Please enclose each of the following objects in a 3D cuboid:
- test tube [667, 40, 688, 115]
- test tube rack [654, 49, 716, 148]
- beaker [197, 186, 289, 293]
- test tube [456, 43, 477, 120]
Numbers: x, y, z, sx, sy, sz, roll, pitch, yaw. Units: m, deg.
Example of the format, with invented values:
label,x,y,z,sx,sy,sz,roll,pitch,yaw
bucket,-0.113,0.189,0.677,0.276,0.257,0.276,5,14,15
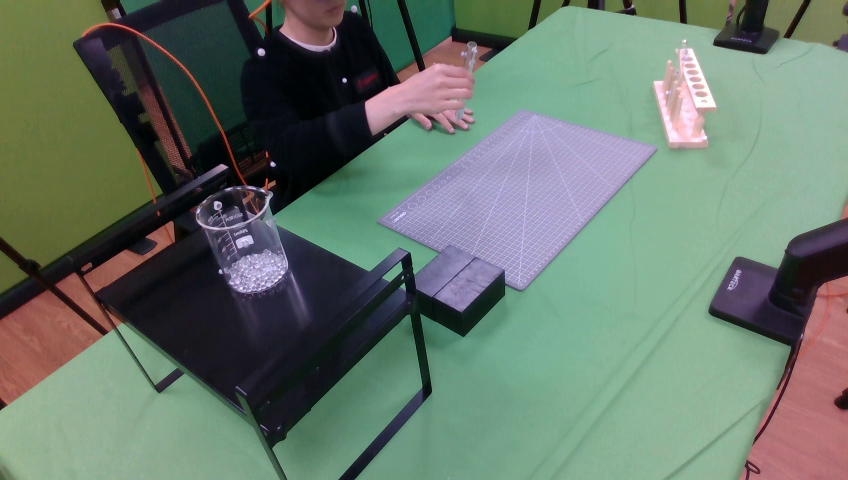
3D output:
label,x,y,z,sx,sy,sz,roll,pitch,yaw
test tube,0.477,-0.303,1.138,0.017,0.151,0.017,-5,42,5
test tube rack,0.502,-0.281,1.176,0.066,0.085,0.241,1,41,11
beaker,-0.192,0.001,0.666,0.084,0.101,0.073,-33,47,-27
test tube,0.071,-0.262,1.014,0.017,0.150,0.017,3,52,-4
